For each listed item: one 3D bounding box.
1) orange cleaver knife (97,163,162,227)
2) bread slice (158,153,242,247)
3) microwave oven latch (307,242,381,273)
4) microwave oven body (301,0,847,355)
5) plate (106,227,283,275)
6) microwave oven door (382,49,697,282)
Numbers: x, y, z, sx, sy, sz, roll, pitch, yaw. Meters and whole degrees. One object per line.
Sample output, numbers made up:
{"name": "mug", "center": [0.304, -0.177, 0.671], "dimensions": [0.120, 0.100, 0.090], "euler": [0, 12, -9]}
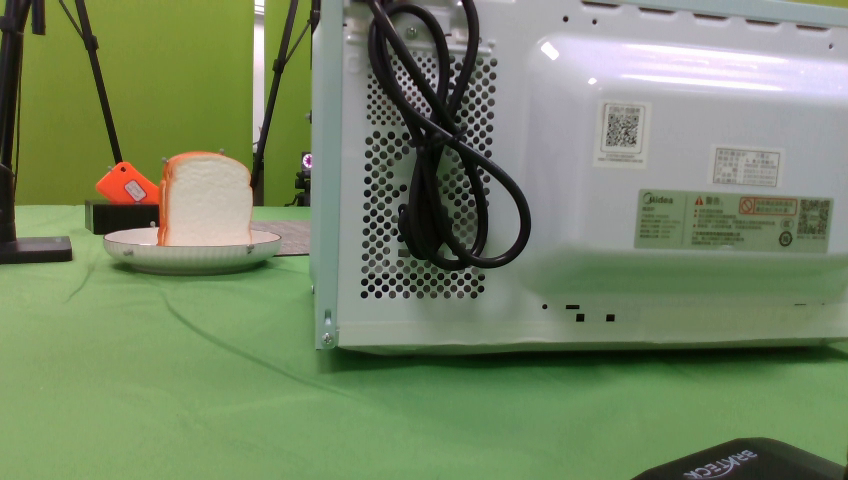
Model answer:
{"name": "orange cleaver knife", "center": [-0.472, -0.062, 1.087], "dimensions": [0.212, 0.077, 0.012], "euler": [33, -14, -36]}
{"name": "bread slice", "center": [-0.287, -0.045, 0.788], "dimensions": [0.107, 0.134, 0.018], "euler": [2, 8, -35]}
{"name": "microwave oven latch", "center": [-0.086, 0.019, 0.656], "dimensions": [0.079, 0.029, 0.030], "euler": [2, 7, -10]}
{"name": "microwave oven body", "center": [0.120, -0.053, 0.535], "dimensions": [0.443, 0.260, 0.325], "euler": [2, 7, -11]}
{"name": "plate", "center": [-0.288, 0.013, 0.772], "dimensions": [0.208, 0.039, 0.207], "euler": [2, 7, 0]}
{"name": "microwave oven door", "center": [0.135, -0.077, 0.685], "dimensions": [0.357, 0.243, 0.039], "euler": [1, 8, -12]}
